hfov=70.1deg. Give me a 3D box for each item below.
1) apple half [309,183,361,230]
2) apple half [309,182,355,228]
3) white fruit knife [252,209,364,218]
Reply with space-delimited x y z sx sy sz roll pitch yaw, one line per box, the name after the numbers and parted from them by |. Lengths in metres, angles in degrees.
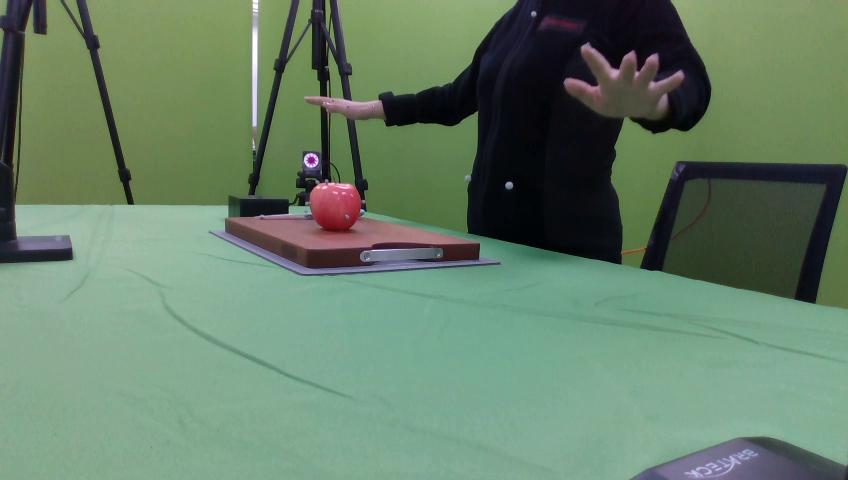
-0.135 -0.052 0.945 0.081 0.074 0.053 3 11 -29 | apple half
-0.152 -0.058 0.978 0.082 0.081 0.032 -2 11 -27 | apple half
-0.209 -0.047 1.106 0.208 0.016 0.027 -3 -5 -30 | white fruit knife
